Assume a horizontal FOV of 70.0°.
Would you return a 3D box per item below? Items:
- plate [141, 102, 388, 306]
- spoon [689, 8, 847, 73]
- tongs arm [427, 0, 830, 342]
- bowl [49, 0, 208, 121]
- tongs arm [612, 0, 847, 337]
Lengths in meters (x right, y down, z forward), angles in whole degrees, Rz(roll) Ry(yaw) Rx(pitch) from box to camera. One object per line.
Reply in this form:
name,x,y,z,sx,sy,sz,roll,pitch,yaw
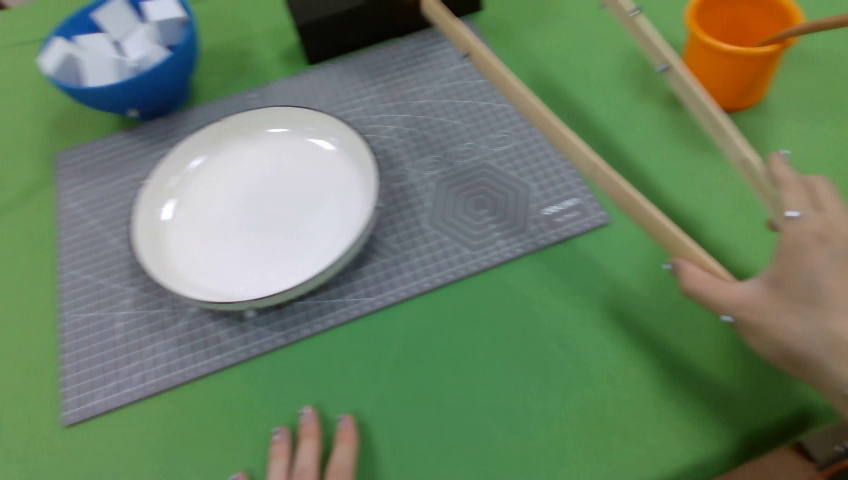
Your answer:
plate,-0.131,-0.032,0.517,0.207,0.039,0.205,-4,56,6
spoon,0.288,-0.162,0.478,0.041,0.193,0.022,-41,104,-14
tongs arm,0.118,-0.074,0.436,0.028,0.028,0.384,-33,68,-17
bowl,-0.282,-0.175,0.614,0.151,0.077,0.150,-4,56,6
tongs arm,0.184,-0.108,0.449,0.051,0.027,0.381,-23,67,-10
